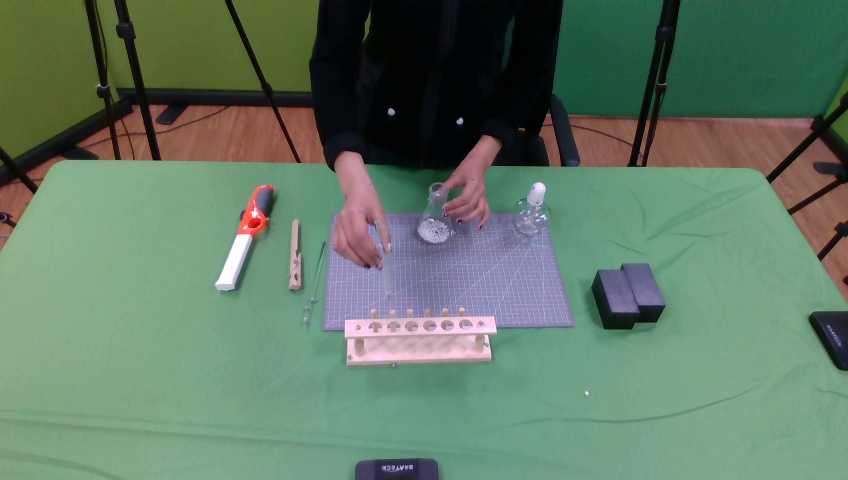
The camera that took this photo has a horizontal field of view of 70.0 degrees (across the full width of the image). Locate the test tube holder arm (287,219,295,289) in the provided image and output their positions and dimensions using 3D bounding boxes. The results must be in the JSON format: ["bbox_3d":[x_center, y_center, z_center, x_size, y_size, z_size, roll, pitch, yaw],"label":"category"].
[{"bbox_3d":[-0.253,0.023,1.158,0.013,0.015,0.177,24,35,-34],"label":"test tube holder arm"}]

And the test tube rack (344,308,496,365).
[{"bbox_3d":[-0.009,0.155,1.006,0.242,0.085,0.066,-1,46,-5],"label":"test tube rack"}]

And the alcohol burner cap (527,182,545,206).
[{"bbox_3d":[0.222,-0.092,1.189,0.034,0.048,0.033,2,54,-3],"label":"alcohol burner cap"}]

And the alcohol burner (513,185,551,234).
[{"bbox_3d":[0.220,-0.068,1.216,0.078,0.119,0.077,4,47,-4],"label":"alcohol burner"}]

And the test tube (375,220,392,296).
[{"bbox_3d":[-0.061,0.032,0.920,0.017,0.151,0.017,-1,41,1],"label":"test tube"}]

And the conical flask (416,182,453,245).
[{"bbox_3d":[0.023,-0.055,1.182,0.075,0.122,0.075,2,46,-2],"label":"conical flask"}]

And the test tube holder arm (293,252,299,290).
[{"bbox_3d":[-0.241,0.057,1.130,0.010,0.015,0.087,25,35,-33],"label":"test tube holder arm"}]

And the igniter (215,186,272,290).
[{"bbox_3d":[-0.347,-0.013,1.181,0.057,0.025,0.275,-1,45,8],"label":"igniter"}]

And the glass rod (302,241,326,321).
[{"bbox_3d":[-0.203,0.071,1.123,0.008,0.008,0.198,5,44,1],"label":"glass rod"}]
